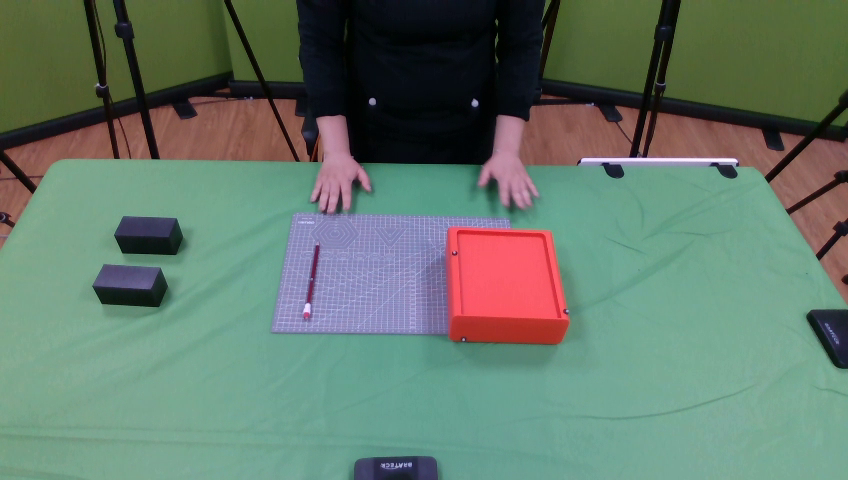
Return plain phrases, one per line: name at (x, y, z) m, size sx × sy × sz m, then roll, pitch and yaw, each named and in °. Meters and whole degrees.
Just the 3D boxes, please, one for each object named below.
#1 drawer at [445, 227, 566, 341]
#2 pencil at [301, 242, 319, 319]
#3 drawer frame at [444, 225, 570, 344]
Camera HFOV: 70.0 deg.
drawer at (0.139, 0.076, 1.091) m, size 0.195 × 0.073 × 0.210 m, roll 3°, pitch 47°, yaw -3°
pencil at (-0.208, 0.070, 1.119) m, size 0.012 × 0.012 × 0.193 m, roll 2°, pitch 43°, yaw -2°
drawer frame at (0.141, 0.077, 1.088) m, size 0.202 × 0.083 × 0.212 m, roll 2°, pitch 47°, yaw -4°
